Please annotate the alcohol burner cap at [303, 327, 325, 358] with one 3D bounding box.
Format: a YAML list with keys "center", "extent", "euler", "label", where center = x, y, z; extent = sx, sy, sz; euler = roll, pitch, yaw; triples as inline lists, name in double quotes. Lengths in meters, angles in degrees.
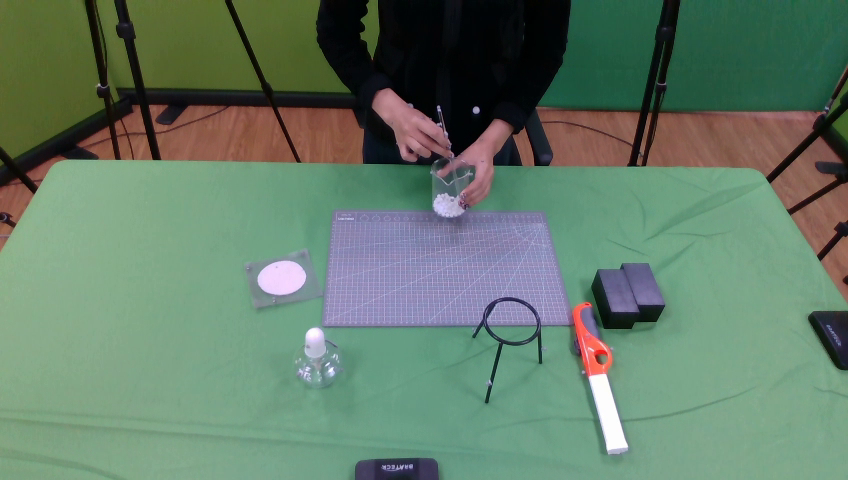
- center: [-0.169, 0.154, 0.925]
  extent: [0.034, 0.048, 0.033]
  euler: [4, 42, -3]
  label: "alcohol burner cap"

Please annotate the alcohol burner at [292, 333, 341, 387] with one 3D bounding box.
- center: [-0.170, 0.179, 0.950]
  extent: [0.078, 0.120, 0.077]
  euler: [2, 48, -2]
  label: "alcohol burner"

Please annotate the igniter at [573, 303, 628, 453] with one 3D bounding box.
- center: [0.288, 0.216, 1.006]
  extent: [0.057, 0.025, 0.274]
  euler: [-9, 46, 8]
  label: "igniter"

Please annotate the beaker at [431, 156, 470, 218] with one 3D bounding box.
- center: [0.049, -0.099, 1.167]
  extent: [0.074, 0.101, 0.083]
  euler: [4, 43, 6]
  label: "beaker"

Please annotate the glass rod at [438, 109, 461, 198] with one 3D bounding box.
- center: [0.049, -0.158, 1.138]
  extent: [0.008, 0.201, 0.008]
  euler: [-10, 40, 8]
  label: "glass rod"

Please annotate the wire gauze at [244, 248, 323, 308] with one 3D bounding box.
- center: [-0.262, 0.071, 1.121]
  extent: [0.125, 0.011, 0.120]
  euler: [-11, 48, -17]
  label: "wire gauze"

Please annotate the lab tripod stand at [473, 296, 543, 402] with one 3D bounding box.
- center: [0.132, 0.168, 0.969]
  extent: [0.148, 0.132, 0.147]
  euler: [3, 48, -3]
  label: "lab tripod stand"
